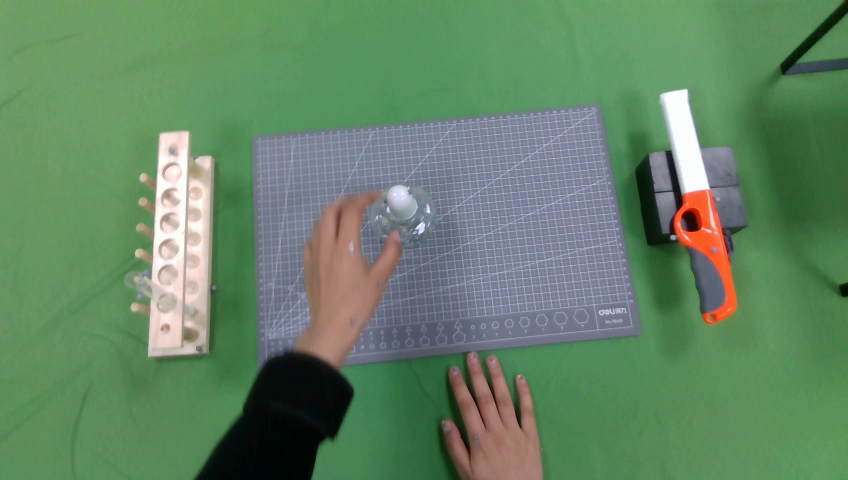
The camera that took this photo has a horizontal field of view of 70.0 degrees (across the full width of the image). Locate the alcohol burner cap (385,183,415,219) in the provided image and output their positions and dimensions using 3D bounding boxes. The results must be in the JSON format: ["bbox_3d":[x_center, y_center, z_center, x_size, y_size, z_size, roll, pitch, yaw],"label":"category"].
[{"bbox_3d":[-0.028,-0.045,0.656,0.034,0.048,0.033,-1,75,3],"label":"alcohol burner cap"}]

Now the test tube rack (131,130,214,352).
[{"bbox_3d":[-0.293,0.003,0.698,0.067,0.085,0.241,-3,76,-1],"label":"test tube rack"}]

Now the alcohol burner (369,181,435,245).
[{"bbox_3d":[-0.026,-0.036,0.691,0.078,0.119,0.077,0,77,1],"label":"alcohol burner"}]

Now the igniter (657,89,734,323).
[{"bbox_3d":[0.308,-0.044,0.692,0.057,0.025,0.275,-8,75,9],"label":"igniter"}]

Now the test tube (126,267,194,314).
[{"bbox_3d":[-0.273,0.056,0.635,0.017,0.151,0.017,0,71,-1],"label":"test tube"}]
